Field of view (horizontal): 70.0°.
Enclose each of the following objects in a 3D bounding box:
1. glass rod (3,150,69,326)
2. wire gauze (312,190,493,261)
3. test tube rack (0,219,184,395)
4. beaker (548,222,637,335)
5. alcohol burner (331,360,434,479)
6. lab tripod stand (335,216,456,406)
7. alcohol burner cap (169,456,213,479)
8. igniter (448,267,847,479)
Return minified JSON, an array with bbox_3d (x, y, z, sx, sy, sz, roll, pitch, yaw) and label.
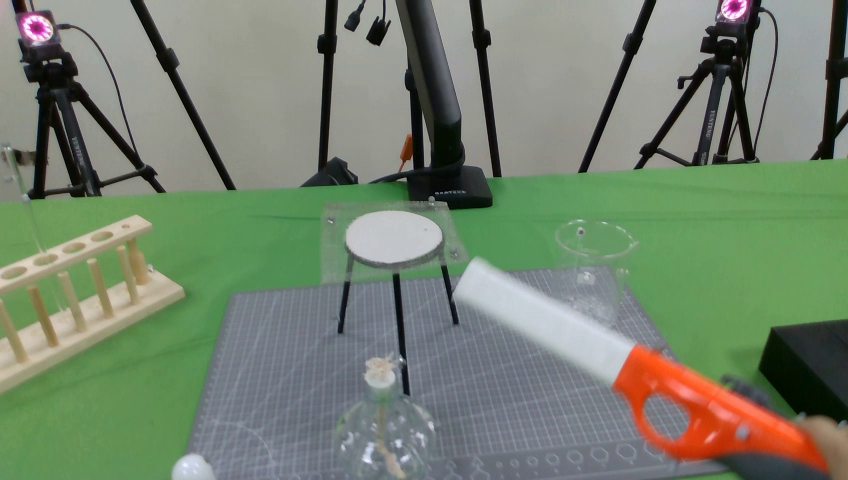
[{"bbox_3d":[-0.371,0.006,0.582,0.008,0.201,0.008,3,33,-2],"label":"glass rod"},{"bbox_3d":[-0.021,-0.013,0.519,0.125,0.011,0.120,-8,27,-27],"label":"wire gauze"},{"bbox_3d":[-0.375,0.070,0.605,0.066,0.086,0.242,23,38,34],"label":"test tube rack"},{"bbox_3d":[0.168,0.042,0.618,0.084,0.101,0.073,0,31,1],"label":"beaker"},{"bbox_3d":[-0.031,0.136,0.452,0.078,0.120,0.077,1,30,0],"label":"alcohol burner"},{"bbox_3d":[-0.025,0.057,0.565,0.148,0.132,0.147,1,32,0],"label":"lab tripod stand"},{"bbox_3d":[-0.172,0.181,0.450,0.034,0.048,0.033,1,31,0],"label":"alcohol burner cap"},{"bbox_3d":[0.128,0.087,0.365,0.274,0.057,0.025,28,0,33],"label":"igniter"}]
